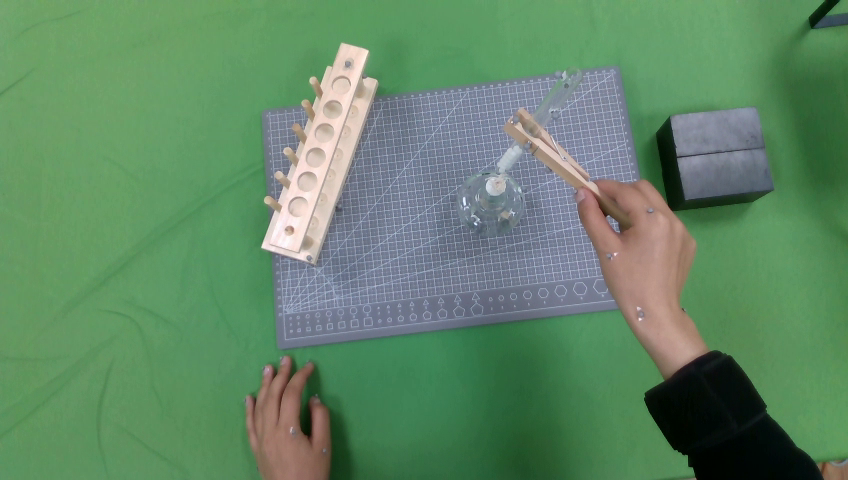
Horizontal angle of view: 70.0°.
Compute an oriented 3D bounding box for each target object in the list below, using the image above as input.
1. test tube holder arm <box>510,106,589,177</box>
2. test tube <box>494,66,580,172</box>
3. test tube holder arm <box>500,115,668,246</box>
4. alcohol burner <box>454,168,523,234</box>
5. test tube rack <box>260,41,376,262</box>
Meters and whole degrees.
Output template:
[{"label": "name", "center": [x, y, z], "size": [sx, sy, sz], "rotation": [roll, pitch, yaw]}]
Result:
[{"label": "test tube holder arm", "center": [0.111, -0.085, 0.541], "size": [0.087, 0.015, 0.010], "rotation": [46, 61, 4]}, {"label": "test tube", "center": [0.094, -0.100, 0.532], "size": [0.017, 0.150, 0.017], "rotation": [7, 65, -14]}, {"label": "test tube holder arm", "center": [0.142, -0.052, 0.537], "size": [0.178, 0.015, 0.013], "rotation": [38, 62, 0]}, {"label": "alcohol burner", "center": [0.072, -0.048, 0.671], "size": [0.078, 0.119, 0.077], "rotation": [0, 78, 1]}, {"label": "test tube rack", "center": [-0.129, -0.104, 0.703], "size": [0.066, 0.085, 0.241], "rotation": [17, 80, 6]}]
